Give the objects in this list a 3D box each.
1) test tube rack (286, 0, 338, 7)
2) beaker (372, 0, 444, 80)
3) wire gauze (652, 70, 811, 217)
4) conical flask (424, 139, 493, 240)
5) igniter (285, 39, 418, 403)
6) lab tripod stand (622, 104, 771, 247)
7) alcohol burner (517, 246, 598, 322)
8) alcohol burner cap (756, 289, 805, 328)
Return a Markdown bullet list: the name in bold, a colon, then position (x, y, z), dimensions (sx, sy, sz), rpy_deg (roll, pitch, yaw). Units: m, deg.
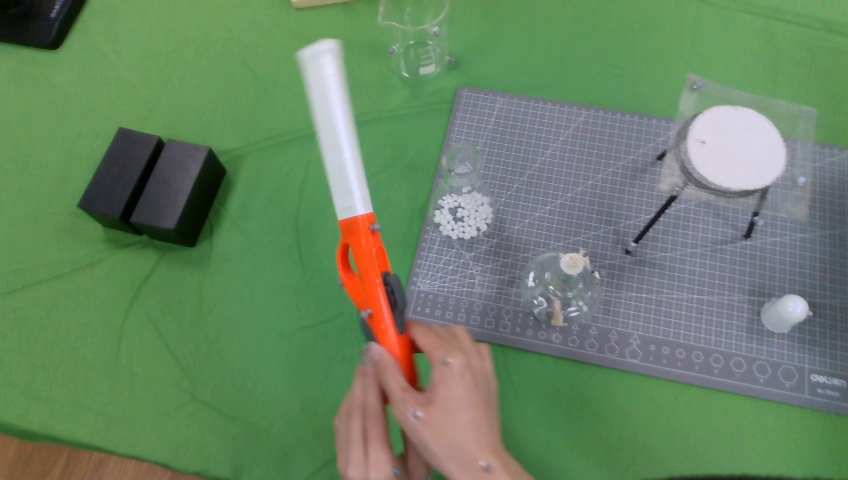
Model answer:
- **test tube rack**: position (-0.062, -0.363, 0.756), dimensions (0.242, 0.086, 0.066), rpy_deg (-8, 68, -1)
- **beaker**: position (-0.016, -0.240, 0.698), dimensions (0.084, 0.101, 0.073), rpy_deg (-29, 69, -8)
- **wire gauze**: position (0.272, -0.086, 0.530), dimensions (0.121, 0.011, 0.124), rpy_deg (16, 70, 7)
- **conical flask**: position (0.034, -0.054, 0.607), dimensions (0.075, 0.123, 0.075), rpy_deg (-1, 68, 3)
- **igniter**: position (-0.052, -0.008, 0.454), dimensions (0.025, 0.057, 0.277), rpy_deg (-21, 98, -48)
- **lab tripod stand**: position (0.267, -0.058, 0.592), dimensions (0.148, 0.132, 0.147), rpy_deg (0, 67, 1)
- **alcohol burner**: position (0.129, 0.036, 0.572), dimensions (0.078, 0.120, 0.077), rpy_deg (0, 67, 1)
- **alcohol burner cap**: position (0.350, 0.064, 0.590), dimensions (0.034, 0.048, 0.033), rpy_deg (-1, 69, 3)
